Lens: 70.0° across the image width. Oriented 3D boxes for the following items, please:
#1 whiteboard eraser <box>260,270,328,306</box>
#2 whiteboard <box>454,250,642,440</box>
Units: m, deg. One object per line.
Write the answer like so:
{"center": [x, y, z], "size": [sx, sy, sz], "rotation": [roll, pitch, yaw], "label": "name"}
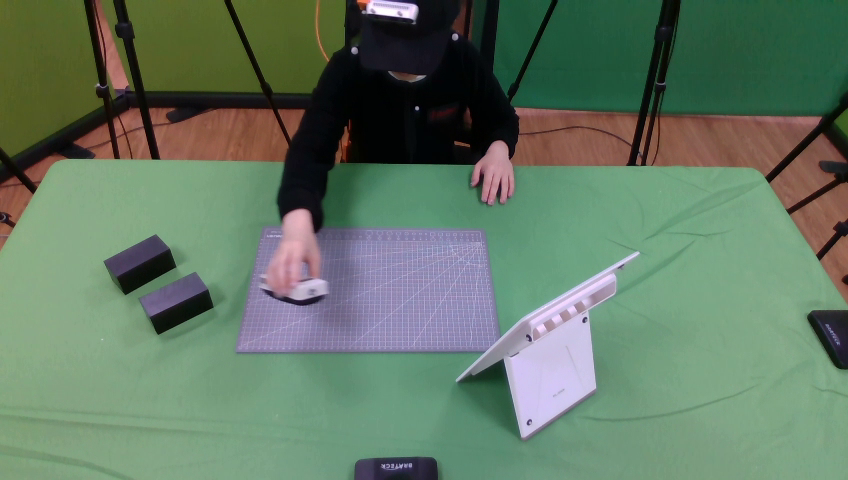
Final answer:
{"center": [-0.207, 0.075, 0.956], "size": [0.112, 0.042, 0.056], "rotation": [11, 19, 42], "label": "whiteboard eraser"}
{"center": [0.206, 0.175, 0.889], "size": [0.217, 0.306, 0.143], "rotation": [-24, 72, -25], "label": "whiteboard"}
